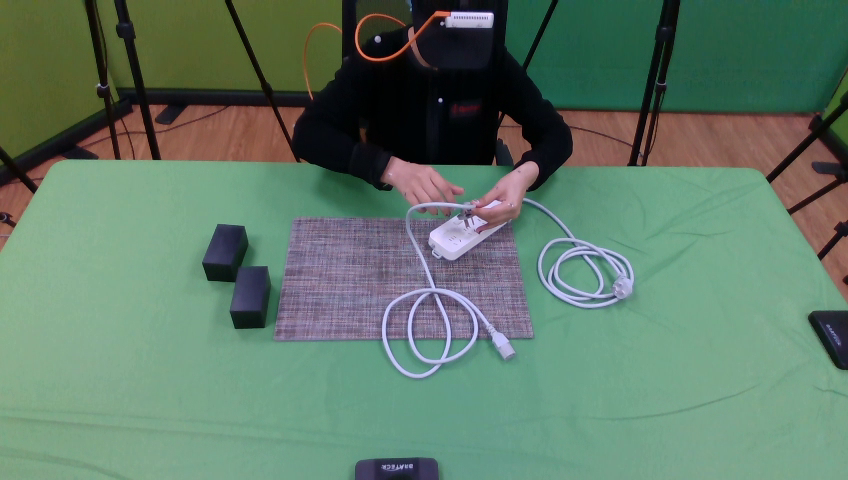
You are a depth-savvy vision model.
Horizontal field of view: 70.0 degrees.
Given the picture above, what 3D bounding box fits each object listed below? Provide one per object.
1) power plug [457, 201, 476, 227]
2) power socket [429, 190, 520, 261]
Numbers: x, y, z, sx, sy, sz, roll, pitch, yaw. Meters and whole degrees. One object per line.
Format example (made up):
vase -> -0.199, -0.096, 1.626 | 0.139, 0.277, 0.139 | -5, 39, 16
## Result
power plug -> 0.083, -0.045, 1.148 | 0.035, 0.053, 0.072 | -19, 16, 3
power socket -> 0.104, -0.032, 1.222 | 0.226, 0.033, 0.072 | -33, 57, -30
